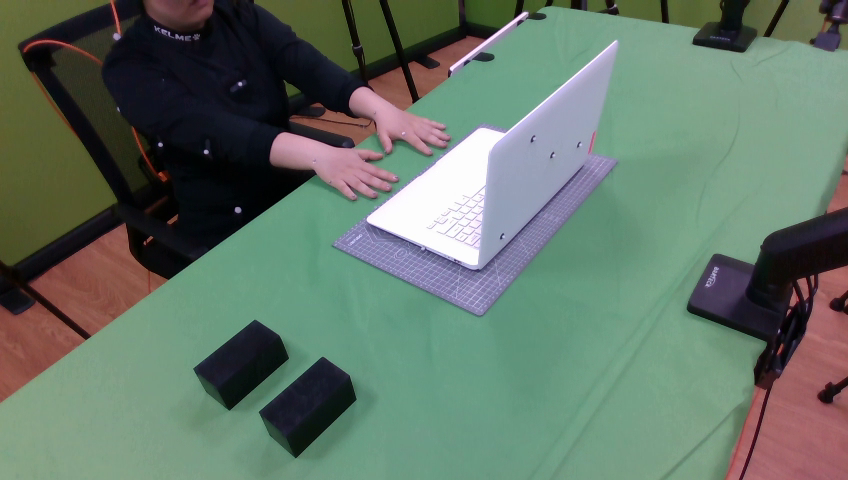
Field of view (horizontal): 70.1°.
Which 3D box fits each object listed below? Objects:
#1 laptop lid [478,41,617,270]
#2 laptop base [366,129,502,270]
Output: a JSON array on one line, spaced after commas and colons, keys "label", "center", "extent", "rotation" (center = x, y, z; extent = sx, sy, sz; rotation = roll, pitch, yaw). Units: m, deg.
[{"label": "laptop lid", "center": [0.190, -0.130, 0.913], "extent": [0.013, 0.242, 0.358], "rotation": [29, 50, 26]}, {"label": "laptop base", "center": [0.098, -0.085, 1.059], "extent": [0.233, 0.023, 0.355], "rotation": [21, 48, 34]}]
